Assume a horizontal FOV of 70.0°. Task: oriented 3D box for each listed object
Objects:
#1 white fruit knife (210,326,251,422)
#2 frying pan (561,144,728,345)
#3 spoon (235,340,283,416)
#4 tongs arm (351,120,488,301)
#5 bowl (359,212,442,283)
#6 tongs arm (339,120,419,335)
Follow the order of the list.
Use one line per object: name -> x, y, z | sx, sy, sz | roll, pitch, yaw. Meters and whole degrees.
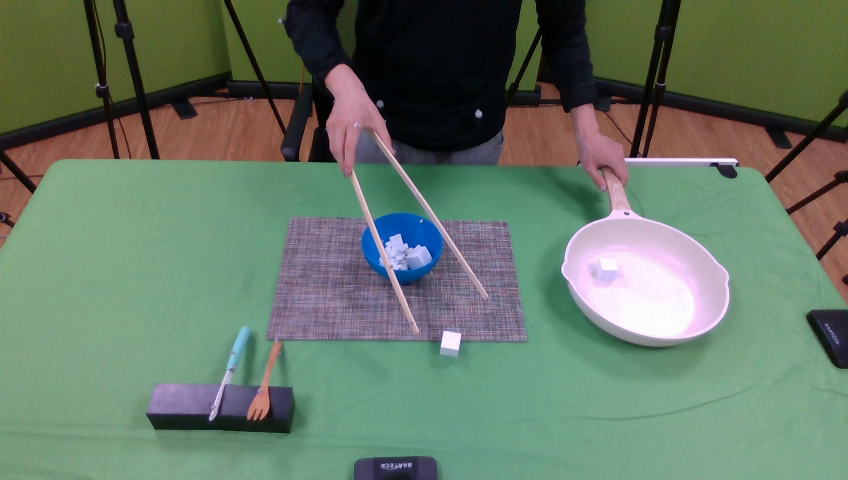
white fruit knife -> -0.300, 0.201, 0.941 | 0.016, 0.027, 0.206 | -2, 32, 1
frying pan -> 0.397, -0.008, 1.179 | 0.307, 0.103, 0.485 | 2, 55, -4
spoon -> -0.244, 0.207, 0.932 | 0.042, 0.022, 0.193 | 28, 25, -8
tongs arm -> -0.007, -0.056, 1.045 | 0.028, 0.028, 0.386 | -33, 82, -14
bowl -> -0.044, 0.026, 1.125 | 0.151, 0.077, 0.150 | 2, 46, -2
tongs arm -> -0.071, -0.026, 1.021 | 0.051, 0.026, 0.383 | -21, 78, -16
